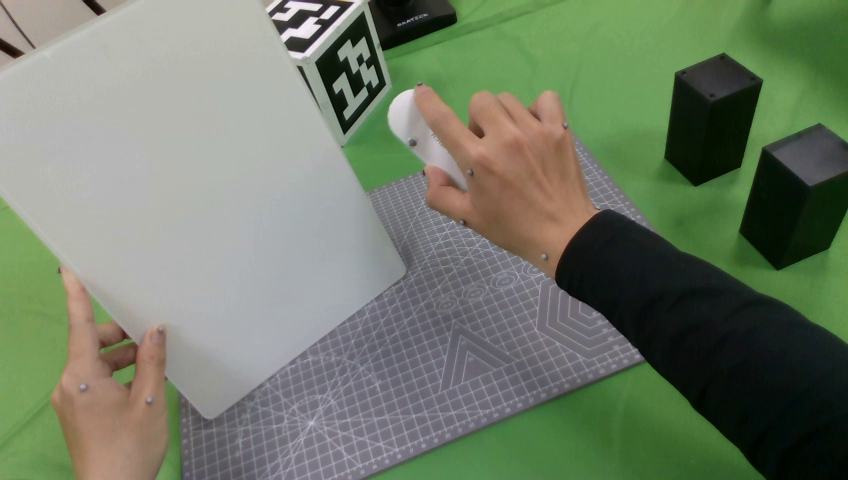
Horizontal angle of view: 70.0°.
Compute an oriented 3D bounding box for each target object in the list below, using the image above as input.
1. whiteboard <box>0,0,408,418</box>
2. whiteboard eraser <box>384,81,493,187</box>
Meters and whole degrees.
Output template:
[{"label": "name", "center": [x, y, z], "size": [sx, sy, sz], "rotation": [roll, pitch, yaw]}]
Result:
[{"label": "whiteboard", "center": [-0.190, -0.047, 0.519], "size": [0.217, 0.308, 0.142], "rotation": [-37, 32, -15]}, {"label": "whiteboard eraser", "center": [0.012, -0.082, 0.473], "size": [0.041, 0.102, 0.018], "rotation": [-49, 18, 3]}]
